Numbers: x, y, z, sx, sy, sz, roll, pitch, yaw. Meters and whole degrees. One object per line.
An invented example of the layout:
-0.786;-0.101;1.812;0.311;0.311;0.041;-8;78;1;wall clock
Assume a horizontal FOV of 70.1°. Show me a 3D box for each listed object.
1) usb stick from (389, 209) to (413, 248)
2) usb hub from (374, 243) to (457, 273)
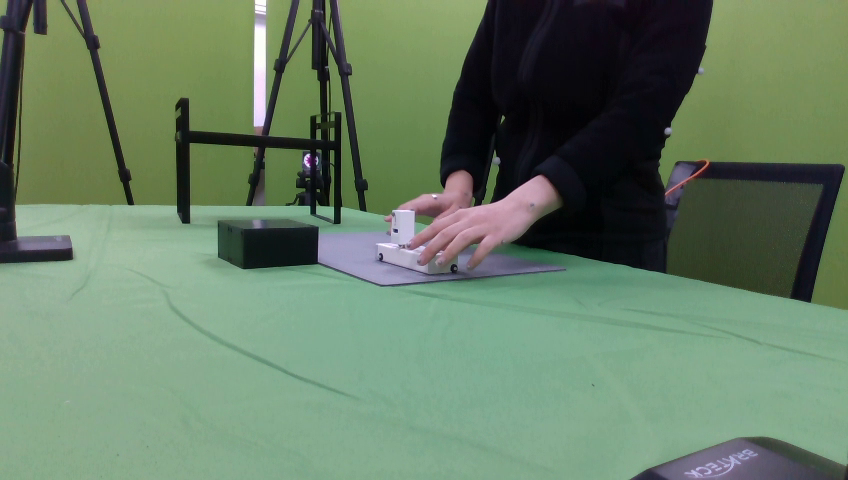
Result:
-0.030;-0.010;0.791;0.027;0.059;0.021;-8;14;-38;usb stick
-0.014;0.022;0.798;0.050;0.025;0.124;-1;7;-36;usb hub
